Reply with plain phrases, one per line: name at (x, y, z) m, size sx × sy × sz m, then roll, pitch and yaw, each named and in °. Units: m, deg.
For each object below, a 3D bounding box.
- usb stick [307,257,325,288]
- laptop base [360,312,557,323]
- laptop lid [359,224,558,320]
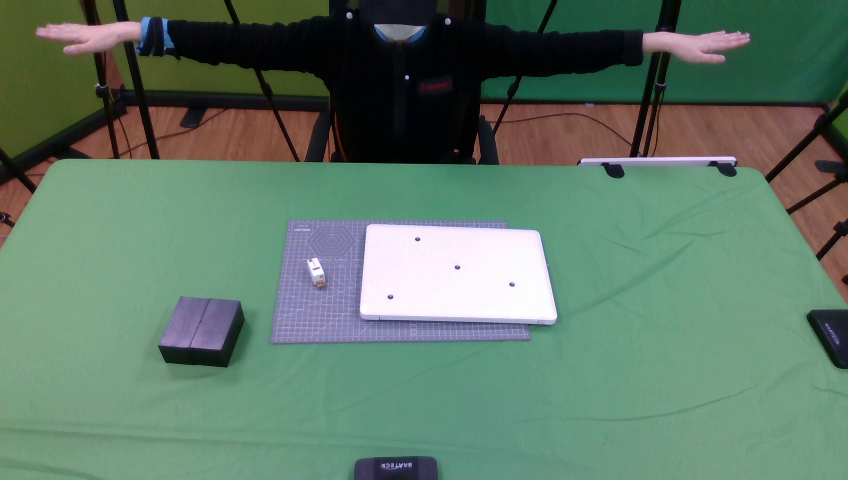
usb stick at (-0.198, 0.062, 1.116) m, size 0.021 × 0.027 × 0.059 m, roll -15°, pitch 52°, yaw -19°
laptop base at (0.061, 0.063, 1.145) m, size 0.354 × 0.023 × 0.234 m, roll 2°, pitch 43°, yaw -3°
laptop lid at (0.062, 0.053, 1.138) m, size 0.357 × 0.013 × 0.240 m, roll 3°, pitch 44°, yaw -2°
